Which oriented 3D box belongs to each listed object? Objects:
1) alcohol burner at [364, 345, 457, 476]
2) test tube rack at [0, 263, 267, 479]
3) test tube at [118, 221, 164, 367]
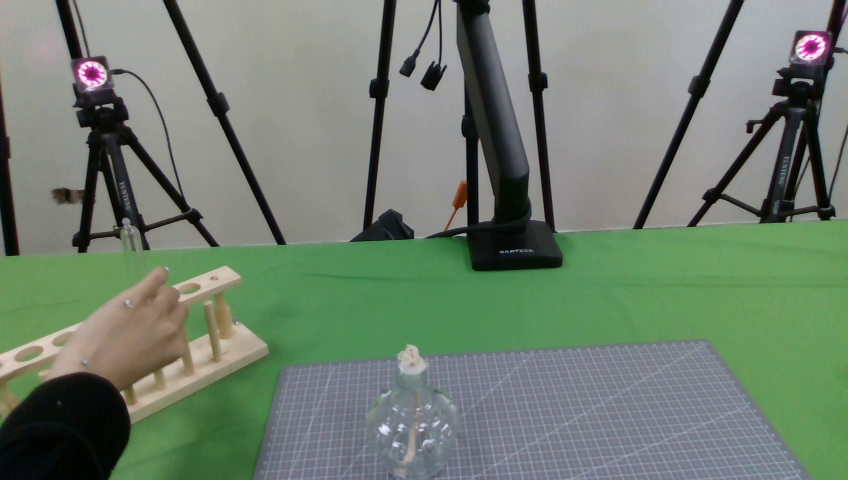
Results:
[{"bbox_3d":[-0.011,0.132,0.490,0.078,0.120,0.077,0,30,1],"label":"alcohol burner"},{"bbox_3d":[-0.280,0.113,0.578,0.243,0.086,0.066,-25,36,-37],"label":"test tube rack"},{"bbox_3d":[-0.254,0.052,0.546,0.017,0.151,0.017,2,27,-1],"label":"test tube"}]
